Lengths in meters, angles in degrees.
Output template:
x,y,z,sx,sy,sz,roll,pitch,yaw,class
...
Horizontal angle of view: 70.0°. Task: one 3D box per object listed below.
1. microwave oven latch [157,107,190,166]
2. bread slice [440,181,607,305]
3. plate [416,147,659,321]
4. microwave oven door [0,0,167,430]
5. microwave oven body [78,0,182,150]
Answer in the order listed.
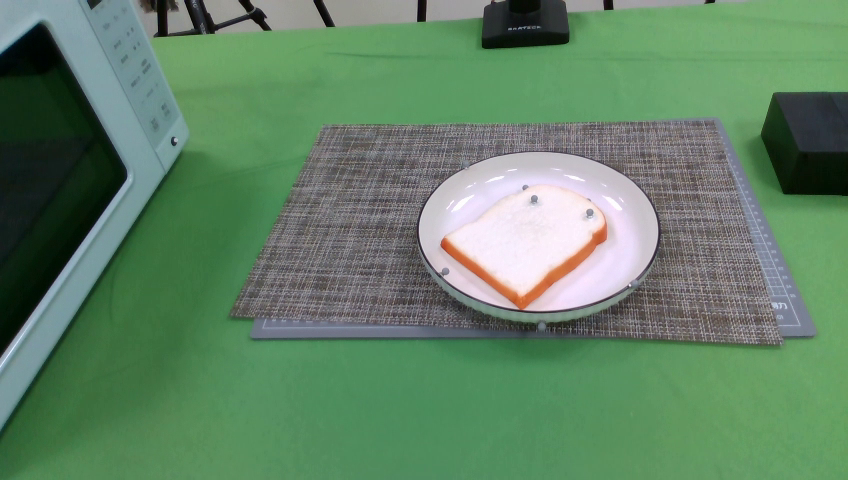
x,y,z,sx,sy,sz,roll,pitch,yaw,class
-0.296,-0.119,0.694,0.030,0.030,0.078,1,45,9,microwave oven latch
0.094,-0.008,0.541,0.131,0.019,0.104,-33,49,-24,bread slice
0.097,-0.008,0.538,0.209,0.038,0.207,-5,44,5,plate
-0.332,-0.039,0.469,0.039,0.246,0.352,-1,44,9,microwave oven door
-0.472,-0.063,0.524,0.325,0.263,0.437,0,45,8,microwave oven body
